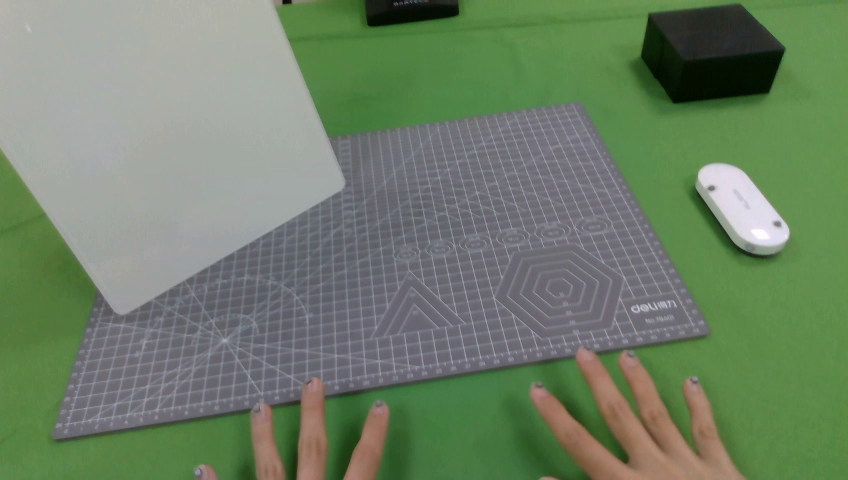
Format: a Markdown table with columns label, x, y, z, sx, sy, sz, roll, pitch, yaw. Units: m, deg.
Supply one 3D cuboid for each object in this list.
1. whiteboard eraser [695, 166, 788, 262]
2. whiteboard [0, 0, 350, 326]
| label | x | y | z | sx | sy | sz | roll | pitch | yaw |
| --- | --- | --- | --- | --- | --- | --- | --- | --- | --- |
| whiteboard eraser | 0.256 | -0.024 | 0.493 | 0.041 | 0.019 | 0.100 | -8 | 46 | -3 |
| whiteboard | -0.232 | -0.131 | 0.486 | 0.217 | 0.308 | 0.142 | -34 | 32 | -24 |
